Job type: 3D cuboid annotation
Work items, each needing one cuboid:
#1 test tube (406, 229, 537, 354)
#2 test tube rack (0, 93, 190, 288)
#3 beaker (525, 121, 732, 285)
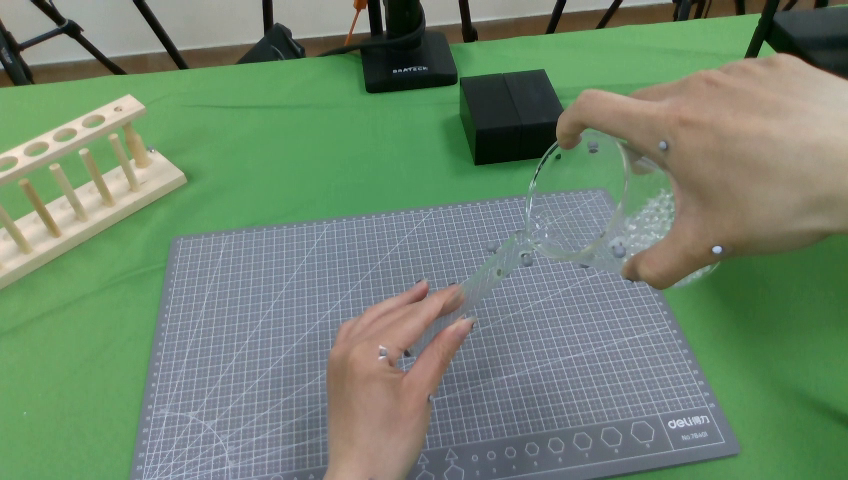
[{"bbox_3d":[0.026,0.040,0.405,0.017,0.150,0.017,18,48,-21],"label":"test tube"},{"bbox_3d":[-0.366,-0.045,0.593,0.066,0.086,0.242,35,58,29],"label":"test tube rack"},{"bbox_3d":[0.119,-0.014,0.352,0.101,0.084,0.073,15,46,-30],"label":"beaker"}]
